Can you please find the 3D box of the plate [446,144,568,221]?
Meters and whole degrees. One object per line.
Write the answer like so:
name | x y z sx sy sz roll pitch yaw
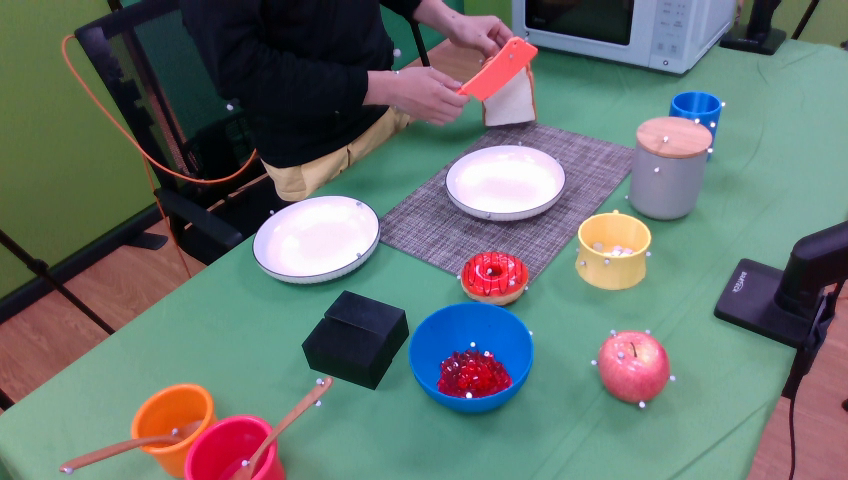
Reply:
plate | 0.142 -0.096 1.045 0.207 0.039 0.206 -4 40 4

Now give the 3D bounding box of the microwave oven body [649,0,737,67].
microwave oven body | 0.475 -0.602 1.411 0.438 0.261 0.327 23 50 32

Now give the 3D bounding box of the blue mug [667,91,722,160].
blue mug | 0.474 -0.207 1.079 0.082 0.106 0.116 4 42 13

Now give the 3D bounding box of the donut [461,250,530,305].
donut | 0.103 0.053 0.872 0.099 0.048 0.098 -5 40 4

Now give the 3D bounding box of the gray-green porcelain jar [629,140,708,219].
gray-green porcelain jar | 0.383 -0.105 0.958 0.106 0.127 0.105 -4 41 4

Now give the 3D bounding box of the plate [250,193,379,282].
plate | -0.174 -0.001 0.984 0.209 0.038 0.208 -4 40 3

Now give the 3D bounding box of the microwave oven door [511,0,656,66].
microwave oven door | 0.351 -0.540 1.349 0.353 0.245 0.039 24 50 31

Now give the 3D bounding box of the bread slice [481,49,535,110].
bread slice | 0.167 -0.315 1.212 0.107 0.135 0.018 -2 33 9

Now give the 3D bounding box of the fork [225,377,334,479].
fork | -0.163 0.216 0.646 0.207 0.019 0.028 -49 42 16

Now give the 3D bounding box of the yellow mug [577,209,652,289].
yellow mug | 0.279 0.004 0.893 0.099 0.064 0.130 5 41 15

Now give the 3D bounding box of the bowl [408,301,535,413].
bowl | 0.059 0.156 0.739 0.151 0.077 0.150 -4 40 4

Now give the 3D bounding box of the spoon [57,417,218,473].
spoon | -0.304 0.221 0.661 0.041 0.195 0.021 19 92 27

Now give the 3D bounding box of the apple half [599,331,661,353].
apple half | 0.249 0.134 0.738 0.081 0.081 0.032 -2 46 7

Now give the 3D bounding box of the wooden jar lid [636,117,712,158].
wooden jar lid | 0.377 -0.151 0.917 0.108 0.021 0.108 -2 42 3

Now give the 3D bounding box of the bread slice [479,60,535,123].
bread slice | 0.157 -0.289 1.171 0.104 0.132 0.019 -5 37 13

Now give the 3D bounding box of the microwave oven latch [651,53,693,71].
microwave oven latch | 0.532 -0.386 1.301 0.078 0.029 0.030 26 52 34

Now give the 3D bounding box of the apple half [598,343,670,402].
apple half | 0.247 0.161 0.710 0.081 0.075 0.053 2 47 5

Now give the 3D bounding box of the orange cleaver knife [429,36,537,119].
orange cleaver knife | 0.102 -0.275 1.054 0.211 0.078 0.012 -37 57 18
